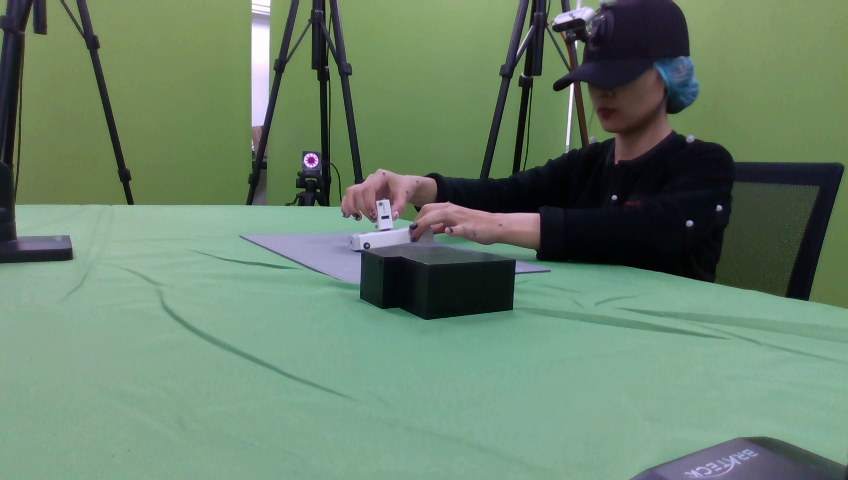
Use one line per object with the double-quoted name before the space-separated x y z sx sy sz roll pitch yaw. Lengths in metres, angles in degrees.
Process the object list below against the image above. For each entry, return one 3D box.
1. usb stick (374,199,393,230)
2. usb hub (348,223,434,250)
"usb stick" -0.062 -0.033 0.926 0.021 0.059 0.027 -8 9 -17
"usb hub" -0.050 -0.005 0.929 0.125 0.025 0.049 -8 8 -16
